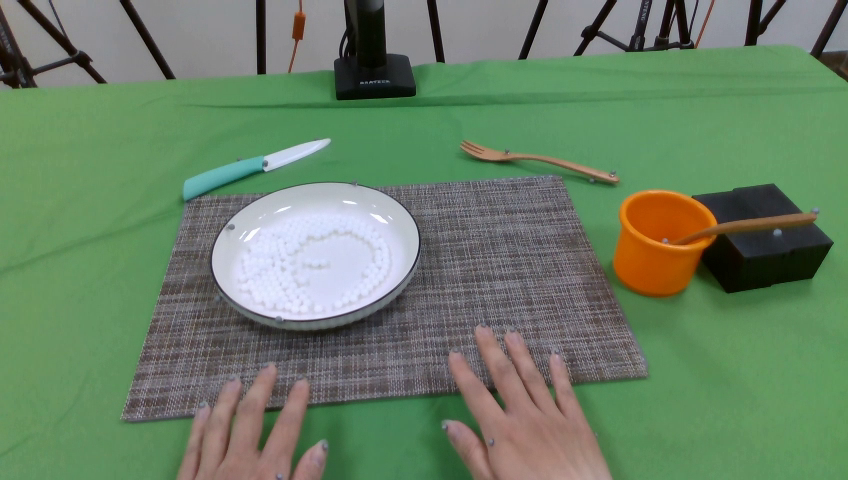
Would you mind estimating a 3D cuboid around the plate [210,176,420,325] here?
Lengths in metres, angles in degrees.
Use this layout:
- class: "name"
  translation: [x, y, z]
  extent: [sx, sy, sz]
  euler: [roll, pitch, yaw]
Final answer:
- class: "plate"
  translation: [-0.107, 0.010, 0.619]
  extent: [0.209, 0.038, 0.207]
  euler: [0, 42, 0]

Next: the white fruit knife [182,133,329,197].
- class: "white fruit knife"
  translation: [-0.208, -0.101, 0.763]
  extent: [0.207, 0.016, 0.027]
  euler: [-26, 72, -31]

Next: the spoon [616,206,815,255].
- class: "spoon"
  translation: [0.261, -0.009, 0.567]
  extent: [0.041, 0.193, 0.021]
  euler: [-30, 94, -32]

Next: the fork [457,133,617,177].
- class: "fork"
  translation: [0.141, -0.107, 0.768]
  extent: [0.206, 0.019, 0.028]
  euler: [13, 39, 17]
